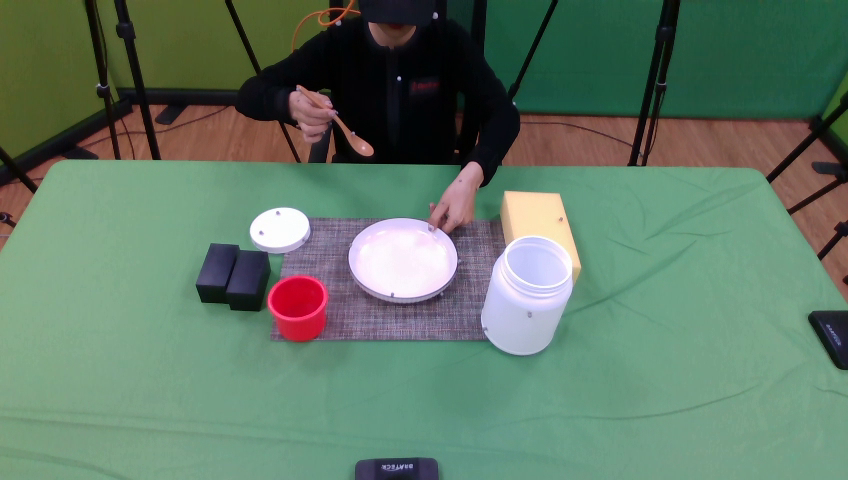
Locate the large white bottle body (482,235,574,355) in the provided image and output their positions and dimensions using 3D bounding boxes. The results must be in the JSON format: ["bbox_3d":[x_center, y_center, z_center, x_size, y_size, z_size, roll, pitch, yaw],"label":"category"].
[{"bbox_3d":[0.172,0.091,1.006,0.131,0.185,0.130,3,48,-3],"label":"large white bottle body"}]

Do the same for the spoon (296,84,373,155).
[{"bbox_3d":[-0.165,-0.226,1.138,0.021,0.195,0.041,-23,41,29],"label":"spoon"}]

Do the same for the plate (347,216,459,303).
[{"bbox_3d":[-0.040,0.039,1.140,0.209,0.038,0.208,2,47,-2],"label":"plate"}]

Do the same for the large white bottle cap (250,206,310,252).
[{"bbox_3d":[-0.284,-0.023,1.197,0.115,0.018,0.114,1,46,0],"label":"large white bottle cap"}]

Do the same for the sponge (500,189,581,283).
[{"bbox_3d":[0.224,-0.007,1.192,0.118,0.061,0.205,1,47,-6],"label":"sponge"}]
